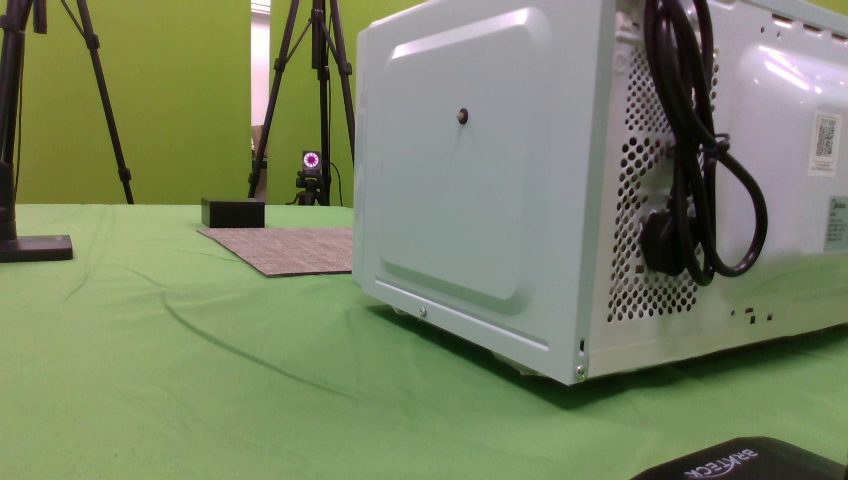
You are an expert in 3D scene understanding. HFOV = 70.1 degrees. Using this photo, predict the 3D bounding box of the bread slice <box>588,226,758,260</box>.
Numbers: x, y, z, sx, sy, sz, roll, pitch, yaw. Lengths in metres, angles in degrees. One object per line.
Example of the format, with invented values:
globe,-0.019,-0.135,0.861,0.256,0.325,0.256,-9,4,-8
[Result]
bread slice,0.226,0.001,0.569,0.132,0.019,0.104,4,5,-23

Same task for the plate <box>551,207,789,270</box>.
plate,0.224,-0.004,0.572,0.209,0.038,0.209,3,8,0

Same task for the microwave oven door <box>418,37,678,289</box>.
microwave oven door,0.159,-0.079,0.684,0.358,0.243,0.039,-2,9,-32

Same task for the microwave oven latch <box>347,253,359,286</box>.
microwave oven latch,-0.034,0.028,0.581,0.079,0.029,0.030,-1,7,-32

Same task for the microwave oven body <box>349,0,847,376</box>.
microwave oven body,0.199,-0.053,0.540,0.444,0.260,0.324,-1,7,-32
